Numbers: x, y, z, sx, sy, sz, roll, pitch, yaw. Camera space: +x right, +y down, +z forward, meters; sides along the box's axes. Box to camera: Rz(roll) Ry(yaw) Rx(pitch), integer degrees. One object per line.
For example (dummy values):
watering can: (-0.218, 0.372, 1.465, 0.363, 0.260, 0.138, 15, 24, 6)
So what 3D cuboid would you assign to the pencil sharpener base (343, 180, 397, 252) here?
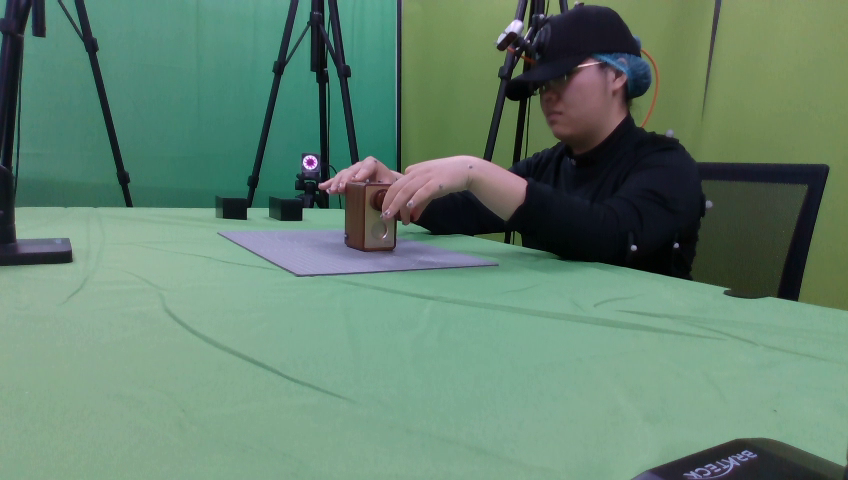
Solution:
pencil sharpener base: (-0.085, -0.038, 0.956, 0.062, 0.107, 0.076, -2, 9, -33)

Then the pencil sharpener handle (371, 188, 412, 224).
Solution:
pencil sharpener handle: (-0.047, -0.049, 0.918, 0.068, 0.036, 0.030, 46, -17, -30)

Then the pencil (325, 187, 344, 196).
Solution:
pencil: (-0.126, -0.077, 1.020, 0.012, 0.012, 0.193, -2, 10, -33)
